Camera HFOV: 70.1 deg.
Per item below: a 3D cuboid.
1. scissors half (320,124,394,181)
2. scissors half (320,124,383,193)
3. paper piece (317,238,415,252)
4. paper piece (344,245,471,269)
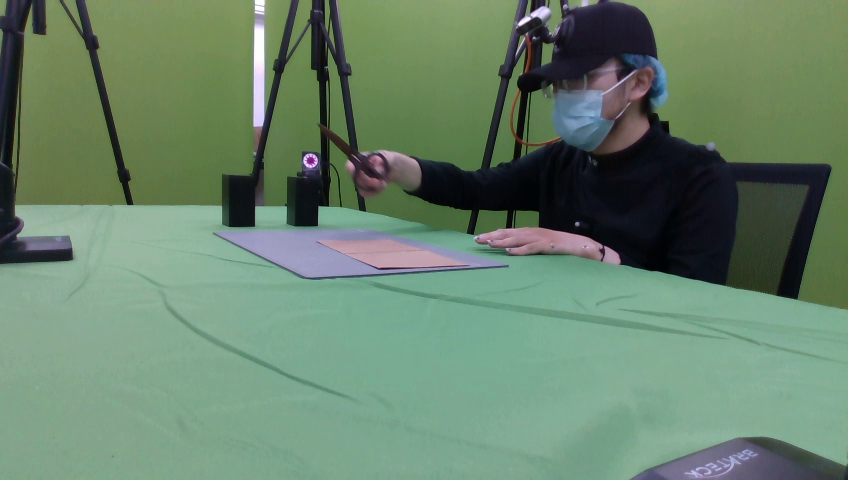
[{"bbox_3d":[-0.114,-0.156,1.059,0.176,0.040,0.013,30,2,-40],"label":"scissors half"},{"bbox_3d":[-0.128,-0.141,1.058,0.012,0.040,0.176,41,-9,50],"label":"scissors half"},{"bbox_3d":[-0.088,0.006,0.964,0.136,0.004,0.135,-2,8,-26],"label":"paper piece"},{"bbox_3d":[-0.027,0.024,0.847,0.137,0.008,0.137,-5,11,-26],"label":"paper piece"}]
